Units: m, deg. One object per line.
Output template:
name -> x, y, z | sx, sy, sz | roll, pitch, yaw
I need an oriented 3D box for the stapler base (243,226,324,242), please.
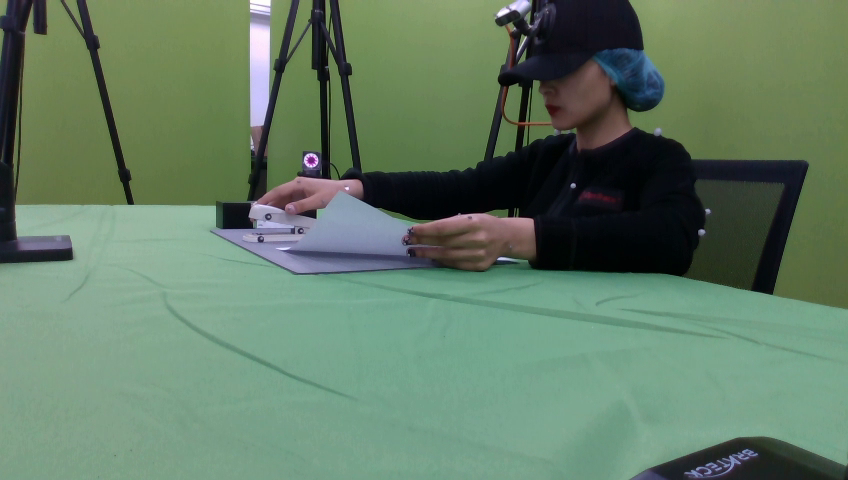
stapler base -> -0.230, -0.012, 0.996 | 0.131, 0.024, 0.041 | -1, 10, -36

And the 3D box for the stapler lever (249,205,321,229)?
stapler lever -> -0.228, -0.037, 0.994 | 0.119, 0.040, 0.026 | -1, 10, -36
